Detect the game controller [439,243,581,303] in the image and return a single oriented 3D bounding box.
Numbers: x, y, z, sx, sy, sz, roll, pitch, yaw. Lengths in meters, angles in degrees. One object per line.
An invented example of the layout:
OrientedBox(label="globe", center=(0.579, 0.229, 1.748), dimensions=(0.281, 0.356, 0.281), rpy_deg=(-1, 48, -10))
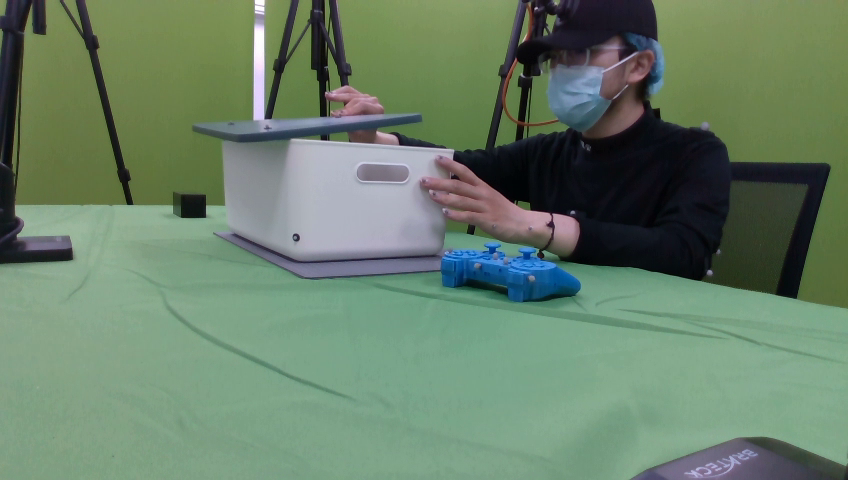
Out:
OrientedBox(label="game controller", center=(0.090, 0.033, 0.685), dimensions=(0.154, 0.051, 0.097), rpy_deg=(8, 13, 42))

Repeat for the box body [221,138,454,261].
OrientedBox(label="box body", center=(-0.152, -0.074, 0.963), dimensions=(0.255, 0.160, 0.362), rpy_deg=(-2, 9, -33))

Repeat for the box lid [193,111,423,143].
OrientedBox(label="box lid", center=(-0.193, -0.177, 0.931), dimensions=(0.264, 0.015, 0.369), rpy_deg=(-13, 17, -28))
